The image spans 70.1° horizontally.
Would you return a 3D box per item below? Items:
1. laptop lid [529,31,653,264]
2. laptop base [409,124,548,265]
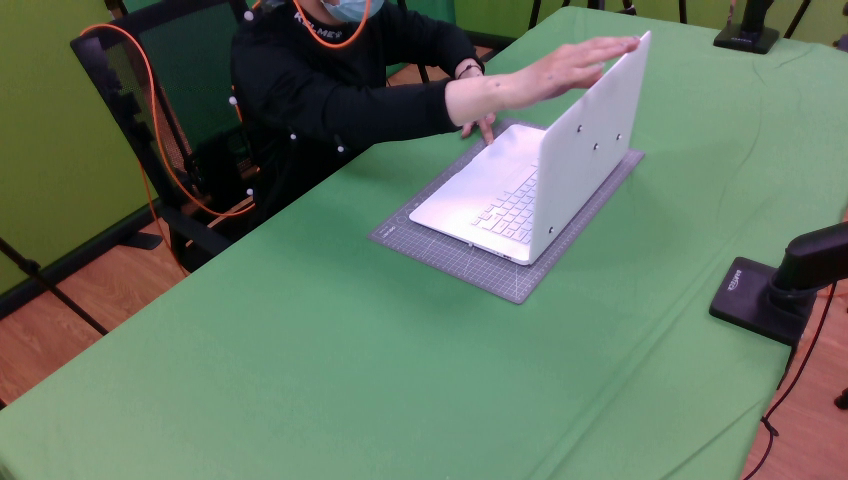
[{"bbox_3d":[0.257,-0.143,0.916,0.013,0.242,0.357,26,49,27],"label":"laptop lid"},{"bbox_3d":[0.168,-0.095,1.057,0.233,0.023,0.355,20,47,32],"label":"laptop base"}]
